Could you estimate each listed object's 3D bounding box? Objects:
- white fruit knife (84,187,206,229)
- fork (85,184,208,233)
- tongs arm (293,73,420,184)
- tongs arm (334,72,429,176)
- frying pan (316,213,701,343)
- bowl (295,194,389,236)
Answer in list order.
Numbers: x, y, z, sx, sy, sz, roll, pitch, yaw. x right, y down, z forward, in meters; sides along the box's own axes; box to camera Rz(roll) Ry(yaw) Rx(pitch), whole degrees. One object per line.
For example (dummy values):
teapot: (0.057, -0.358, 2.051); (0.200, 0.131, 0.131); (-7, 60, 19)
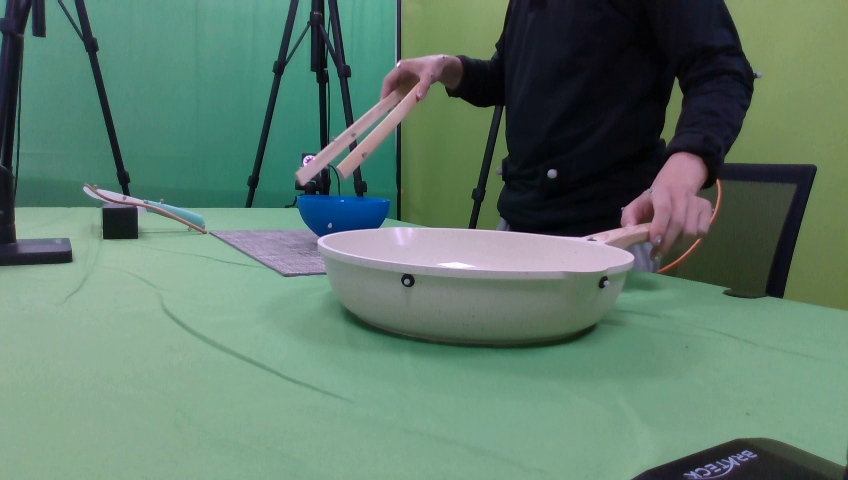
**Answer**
white fruit knife: (-0.488, -0.059, 1.071); (0.208, 0.027, 0.016); (17, 4, -33)
fork: (-0.462, -0.051, 1.019); (0.208, 0.018, 0.028); (22, -11, -37)
tongs arm: (-0.108, -0.214, 1.110); (0.050, 0.026, 0.385); (-8, 31, 37)
tongs arm: (-0.064, -0.219, 1.079); (0.028, 0.028, 0.388); (-14, 28, 34)
frying pan: (0.133, 0.013, 0.629); (0.490, 0.102, 0.305); (-12, 14, -30)
bowl: (-0.132, -0.032, 0.980); (0.151, 0.077, 0.151); (2, 7, 0)
